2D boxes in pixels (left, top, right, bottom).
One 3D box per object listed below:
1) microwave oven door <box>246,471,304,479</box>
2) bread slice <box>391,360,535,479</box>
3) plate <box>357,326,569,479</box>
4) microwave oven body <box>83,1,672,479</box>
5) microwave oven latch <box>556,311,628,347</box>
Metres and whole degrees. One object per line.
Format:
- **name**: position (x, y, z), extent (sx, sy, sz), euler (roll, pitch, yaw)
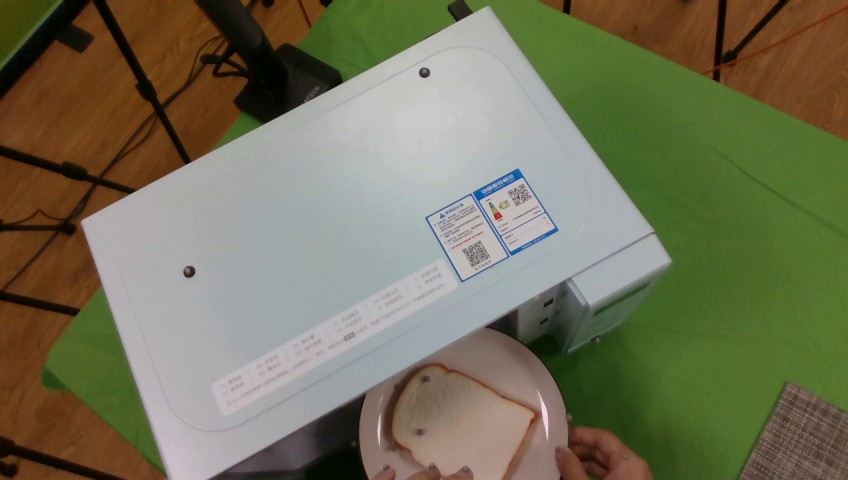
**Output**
- **microwave oven door**: position (-0.011, 0.295, 0.535), extent (0.354, 0.245, 0.039), euler (18, 74, 13)
- **bread slice**: position (0.032, 0.185, 0.611), extent (0.131, 0.019, 0.104), euler (26, 76, 12)
- **plate**: position (0.038, 0.188, 0.606), extent (0.207, 0.039, 0.206), euler (-2, 73, 7)
- **microwave oven body**: position (-0.047, 0.025, 0.639), extent (0.442, 0.262, 0.323), euler (-29, 70, -2)
- **microwave oven latch**: position (0.190, 0.091, 0.687), extent (0.079, 0.030, 0.030), euler (-27, 70, -1)
